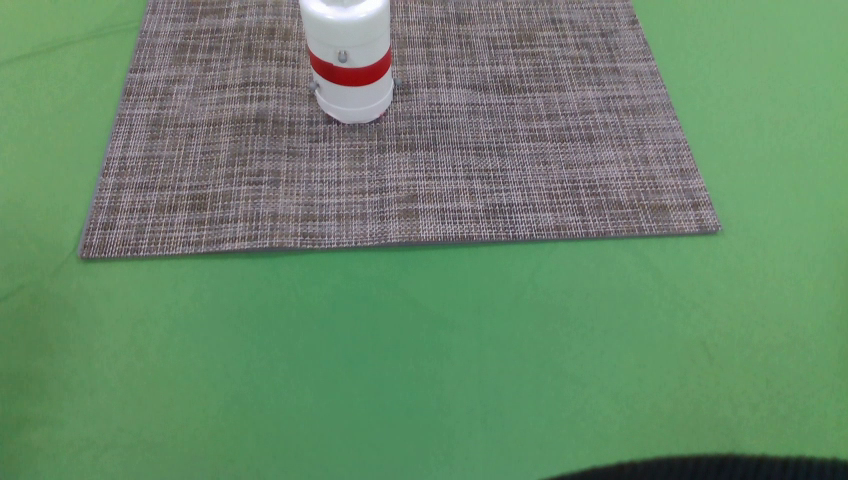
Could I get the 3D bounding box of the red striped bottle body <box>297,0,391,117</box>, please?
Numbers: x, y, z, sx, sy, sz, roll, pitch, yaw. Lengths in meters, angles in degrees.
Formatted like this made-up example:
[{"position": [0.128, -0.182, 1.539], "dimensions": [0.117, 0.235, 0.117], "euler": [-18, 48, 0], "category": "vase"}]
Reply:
[{"position": [-0.057, -0.154, 0.445], "dimensions": [0.063, 0.120, 0.062], "euler": [1, 58, -1], "category": "red striped bottle body"}]
